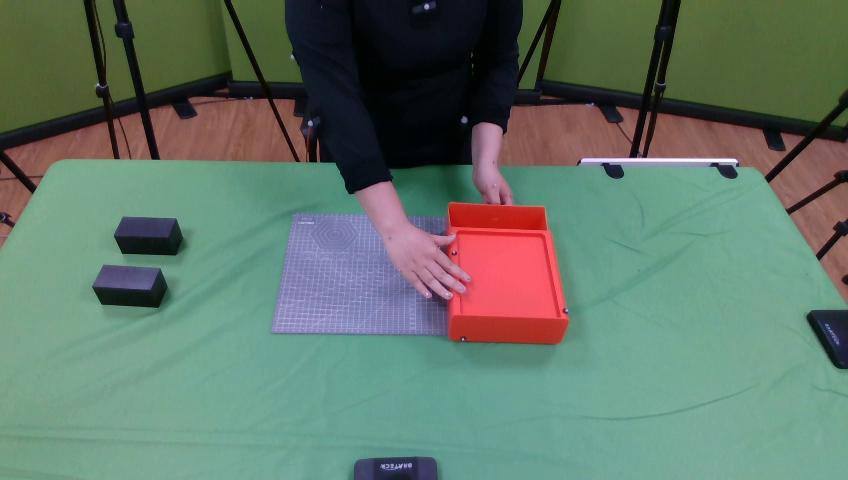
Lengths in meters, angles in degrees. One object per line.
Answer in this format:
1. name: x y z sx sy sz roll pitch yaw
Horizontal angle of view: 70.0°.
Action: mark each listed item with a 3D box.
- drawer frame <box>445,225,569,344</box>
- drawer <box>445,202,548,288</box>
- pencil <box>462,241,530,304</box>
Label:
1. drawer frame: 0.141 0.076 1.089 0.202 0.083 0.212 2 46 -3
2. drawer: 0.140 0.026 1.138 0.195 0.073 0.210 3 46 -3
3. pencil: 0.132 0.057 1.141 0.012 0.012 0.193 -26 51 -26
